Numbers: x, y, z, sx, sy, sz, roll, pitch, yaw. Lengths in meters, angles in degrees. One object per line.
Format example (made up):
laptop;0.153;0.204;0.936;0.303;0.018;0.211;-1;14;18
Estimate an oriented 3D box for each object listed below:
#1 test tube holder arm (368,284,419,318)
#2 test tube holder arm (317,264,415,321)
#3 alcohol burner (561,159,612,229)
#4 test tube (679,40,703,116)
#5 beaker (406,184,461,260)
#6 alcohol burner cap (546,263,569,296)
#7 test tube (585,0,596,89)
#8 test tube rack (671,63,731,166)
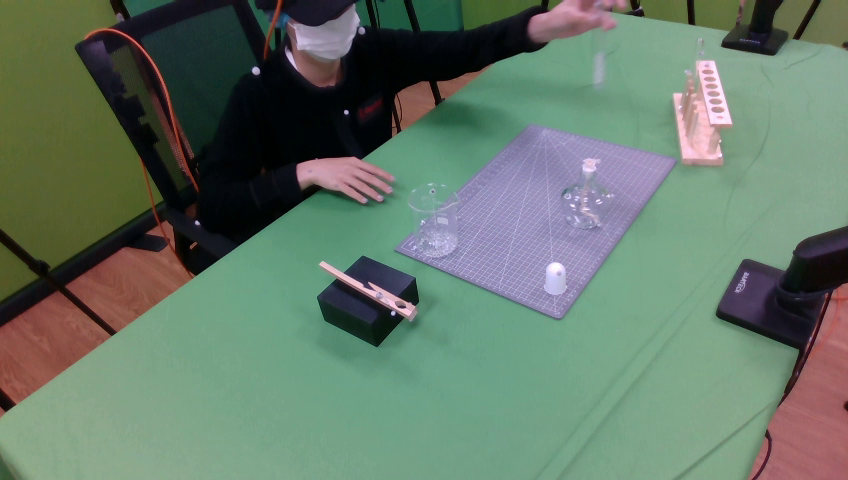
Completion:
test tube holder arm;-0.044;0.081;0.813;0.087;0.015;0.010;23;55;31
test tube holder arm;-0.083;0.070;0.833;0.177;0.015;0.013;22;54;30
alcohol burner;0.257;-0.077;0.951;0.078;0.119;0.077;-3;40;3
test tube;0.502;-0.303;1.138;0.017;0.151;0.017;-4;40;3
beaker;0.019;-0.026;0.939;0.084;0.101;0.074;1;41;9
alcohol burner cap;0.191;0.053;0.862;0.034;0.048;0.033;-5;40;4
test tube;0.270;-0.320;0.982;0.017;0.151;0.017;-6;30;4
test tube rack;0.513;-0.240;1.132;0.066;0.085;0.242;4;41;14
